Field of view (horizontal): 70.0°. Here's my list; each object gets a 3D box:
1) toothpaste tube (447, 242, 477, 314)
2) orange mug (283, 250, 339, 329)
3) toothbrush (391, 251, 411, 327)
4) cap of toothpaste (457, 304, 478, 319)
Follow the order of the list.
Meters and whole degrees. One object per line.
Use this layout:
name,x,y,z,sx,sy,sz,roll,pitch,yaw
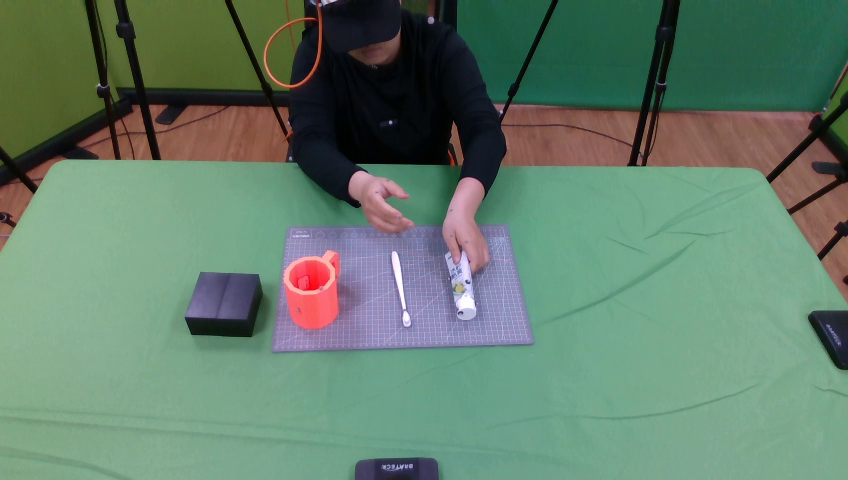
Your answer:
toothpaste tube,0.071,0.070,1.112,0.055,0.035,0.164,-32,38,21
orange mug,-0.186,0.078,1.052,0.083,0.101,0.126,20,52,15
toothbrush,-0.044,0.085,1.112,0.014,0.017,0.180,-14,46,1
cap of toothpaste,0.075,0.123,1.056,0.037,0.037,0.011,1,43,-2
